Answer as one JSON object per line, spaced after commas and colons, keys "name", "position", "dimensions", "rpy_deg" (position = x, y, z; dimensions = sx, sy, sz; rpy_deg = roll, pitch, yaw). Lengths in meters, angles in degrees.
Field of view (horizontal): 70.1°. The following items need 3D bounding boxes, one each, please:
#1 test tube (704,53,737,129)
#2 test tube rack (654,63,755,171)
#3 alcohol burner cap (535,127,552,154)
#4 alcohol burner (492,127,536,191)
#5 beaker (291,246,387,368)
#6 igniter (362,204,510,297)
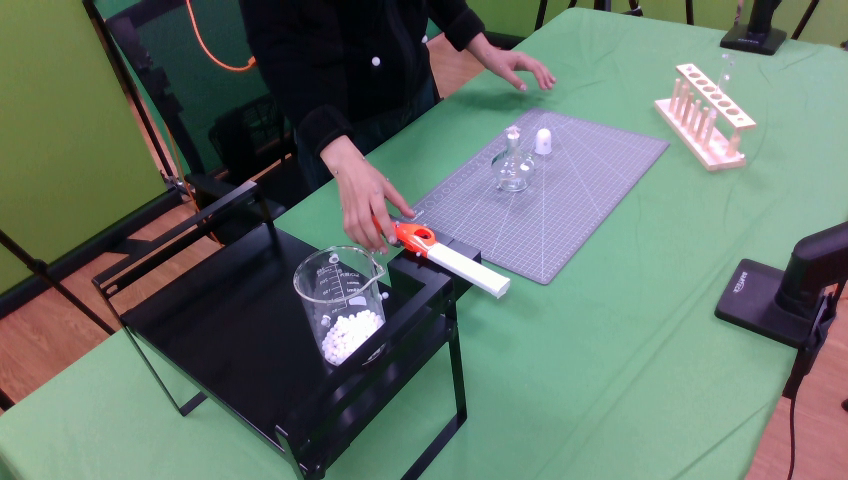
{"name": "test tube", "position": [0.526, -0.261, 1.075], "dimensions": [0.017, 0.151, 0.017], "rpy_deg": [-2, 44, 2]}
{"name": "test tube rack", "position": [0.510, -0.233, 1.120], "dimensions": [0.067, 0.085, 0.241], "rpy_deg": [-8, 41, -1]}
{"name": "alcohol burner cap", "position": [0.227, -0.190, 1.142], "dimensions": [0.034, 0.048, 0.033], "rpy_deg": [-3, 40, 3]}
{"name": "alcohol burner", "position": [0.156, -0.146, 1.046], "dimensions": [0.078, 0.119, 0.077], "rpy_deg": [-4, 43, 4]}
{"name": "beaker", "position": [-0.073, 0.066, 0.573], "dimensions": [0.084, 0.101, 0.073], "rpy_deg": [-7, 41, 0]}
{"name": "igniter", "position": [0.006, 0.009, 0.887], "dimensions": [0.274, 0.025, 0.057], "rpy_deg": [29, 50, 32]}
